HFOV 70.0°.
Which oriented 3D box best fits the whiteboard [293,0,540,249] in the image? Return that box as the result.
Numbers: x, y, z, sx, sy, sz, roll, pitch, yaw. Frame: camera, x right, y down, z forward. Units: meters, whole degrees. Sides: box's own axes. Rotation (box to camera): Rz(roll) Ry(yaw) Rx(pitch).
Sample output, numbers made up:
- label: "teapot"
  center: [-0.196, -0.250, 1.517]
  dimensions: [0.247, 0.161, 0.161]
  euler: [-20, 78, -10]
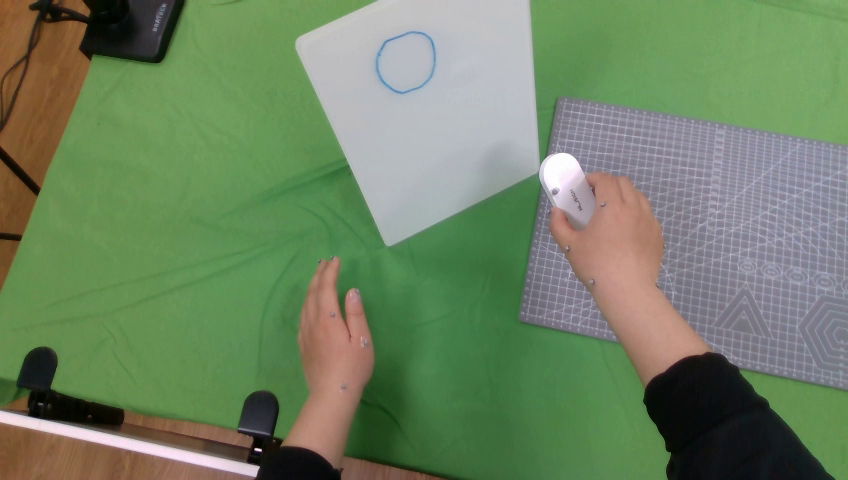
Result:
- label: "whiteboard"
  center: [-0.008, -0.171, 0.663]
  dimensions: [0.217, 0.308, 0.142]
  euler: [-27, 54, -5]

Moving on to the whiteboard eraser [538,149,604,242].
- label: "whiteboard eraser"
  center: [0.148, -0.044, 0.610]
  dimensions: [0.041, 0.018, 0.102]
  euler: [-33, 106, -10]
